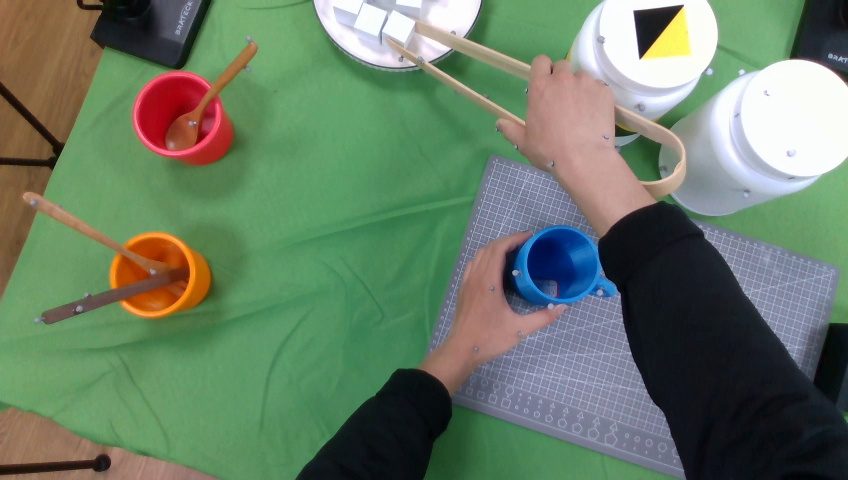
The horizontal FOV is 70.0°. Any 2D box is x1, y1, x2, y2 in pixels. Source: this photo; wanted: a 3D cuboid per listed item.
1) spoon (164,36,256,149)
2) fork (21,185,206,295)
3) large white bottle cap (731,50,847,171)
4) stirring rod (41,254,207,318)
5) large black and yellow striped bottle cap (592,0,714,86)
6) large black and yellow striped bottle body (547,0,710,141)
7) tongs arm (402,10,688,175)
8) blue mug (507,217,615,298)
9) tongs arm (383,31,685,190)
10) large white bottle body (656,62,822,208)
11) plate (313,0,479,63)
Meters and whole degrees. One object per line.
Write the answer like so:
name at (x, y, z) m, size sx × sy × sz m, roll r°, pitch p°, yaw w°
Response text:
spoon at (-0.238, -0.160, 0.667) m, size 0.193 × 0.022 × 0.041 m, roll -32°, pitch 80°, yaw 39°
fork at (-0.323, 0.003, 0.645) m, size 0.028 × 0.018 × 0.209 m, roll -54°, pitch 131°, yaw -7°
large white bottle cap at (0.351, -0.123, 0.575) m, size 0.115 × 0.018 × 0.114 m, roll 0°, pitch 84°, yaw -2°
stirring rod at (-0.313, 0.046, 0.648) m, size 0.176 × 0.006 × 0.014 m, roll -23°, pitch 87°, yaw -46°
large black and yellow striped bottle cap at (0.219, -0.206, 0.581) m, size 0.115 × 0.019 × 0.114 m, roll 0°, pitch 86°, yaw -2°
large black and yellow striped bottle body at (0.218, -0.194, 0.663) m, size 0.131 × 0.184 × 0.130 m, roll 0°, pitch 84°, yaw -1°
tongs arm at (0.106, -0.170, 0.628) m, size 0.383 × 0.028 × 0.028 m, roll 37°, pitch 79°, yaw 32°
blue mug at (0.156, 0.030, 0.676) m, size 0.116 × 0.106 × 0.082 m, roll 24°, pitch 84°, yaw 1°
tongs arm at (0.091, -0.152, 0.626) m, size 0.051 × 0.027 × 0.381 m, roll -46°, pitch 58°, yaw -4°
large white bottle body at (0.349, -0.113, 0.659) m, size 0.131 × 0.185 × 0.130 m, roll 0°, pitch 84°, yaw -1°
plate at (-0.034, -0.313, 0.741) m, size 0.208 × 0.039 × 0.207 m, roll 0°, pitch 84°, yaw -1°
